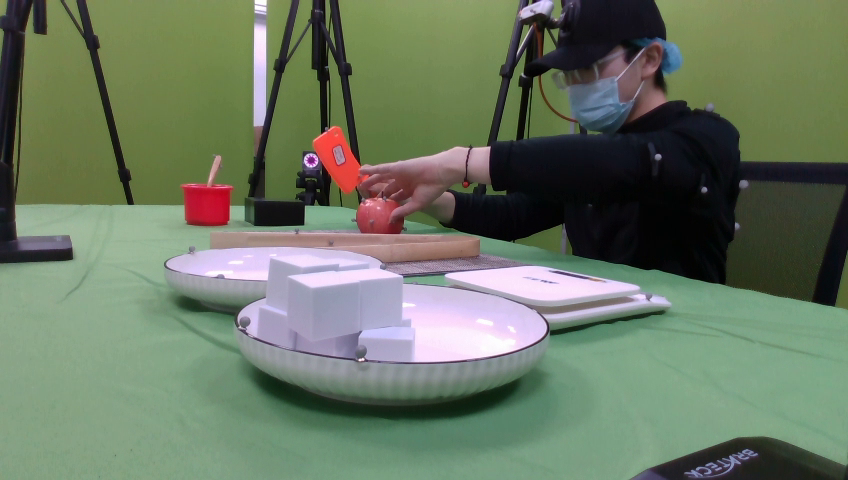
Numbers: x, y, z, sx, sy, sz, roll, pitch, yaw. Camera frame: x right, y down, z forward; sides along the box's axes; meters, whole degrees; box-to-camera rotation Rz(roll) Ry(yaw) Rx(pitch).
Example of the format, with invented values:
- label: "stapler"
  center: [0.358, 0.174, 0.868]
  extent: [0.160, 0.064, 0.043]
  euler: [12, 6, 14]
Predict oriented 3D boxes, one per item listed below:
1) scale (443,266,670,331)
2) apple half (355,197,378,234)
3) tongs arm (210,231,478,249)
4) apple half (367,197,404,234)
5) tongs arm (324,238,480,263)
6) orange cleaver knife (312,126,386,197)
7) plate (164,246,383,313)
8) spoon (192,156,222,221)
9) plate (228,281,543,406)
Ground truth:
- label: "scale"
  center: [0.131, 0.052, 0.603]
  extent: [0.202, 0.031, 0.148]
  euler: [-2, 9, -37]
- label: "apple half"
  center: [-0.099, -0.036, 1.017]
  extent: [0.033, 0.081, 0.081]
  euler: [7, 8, 10]
- label: "tongs arm"
  center: [-0.106, 0.005, 0.876]
  extent: [0.386, 0.026, 0.050]
  euler: [1, 7, -20]
- label: "apple half"
  center: [-0.060, -0.033, 1.012]
  extent: [0.053, 0.074, 0.081]
  euler: [7, 6, 10]
- label: "tongs arm"
  center: [-0.070, 0.018, 0.801]
  extent: [0.390, 0.028, 0.028]
  euler: [-2, 5, -34]
- label: "orange cleaver knife"
  center: [-0.140, -0.129, 1.159]
  extent: [0.012, 0.077, 0.212]
  euler: [14, -29, 42]
- label: "plate"
  center: [-0.145, 0.038, 0.600]
  extent: [0.209, 0.038, 0.209]
  euler: [2, 7, 0]
- label: "spoon"
  center: [-0.430, -0.108, 1.222]
  extent: [0.041, 0.021, 0.193]
  euler: [-1, 52, 0]
- label: "plate"
  center: [-0.025, 0.067, 0.413]
  extent: [0.208, 0.039, 0.207]
  euler: [3, 7, 0]
